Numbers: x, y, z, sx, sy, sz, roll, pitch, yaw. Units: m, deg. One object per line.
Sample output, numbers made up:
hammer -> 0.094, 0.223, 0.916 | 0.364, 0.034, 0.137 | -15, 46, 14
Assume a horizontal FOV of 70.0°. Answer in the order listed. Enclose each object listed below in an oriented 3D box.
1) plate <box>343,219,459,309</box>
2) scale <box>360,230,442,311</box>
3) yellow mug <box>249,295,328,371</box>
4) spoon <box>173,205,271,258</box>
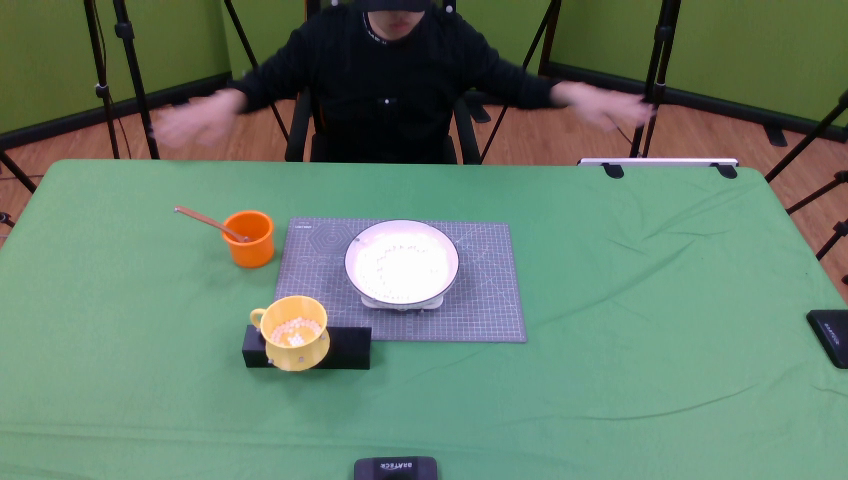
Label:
plate -> -0.041, 0.045, 1.094 | 0.209, 0.038, 0.208 | 2, 46, -2
scale -> -0.042, 0.047, 1.138 | 0.149, 0.032, 0.199 | 2, 46, -3
yellow mug -> -0.216, 0.139, 0.946 | 0.130, 0.064, 0.099 | 17, 47, 12
spoon -> -0.362, -0.017, 1.098 | 0.021, 0.195, 0.041 | -32, 42, 27
